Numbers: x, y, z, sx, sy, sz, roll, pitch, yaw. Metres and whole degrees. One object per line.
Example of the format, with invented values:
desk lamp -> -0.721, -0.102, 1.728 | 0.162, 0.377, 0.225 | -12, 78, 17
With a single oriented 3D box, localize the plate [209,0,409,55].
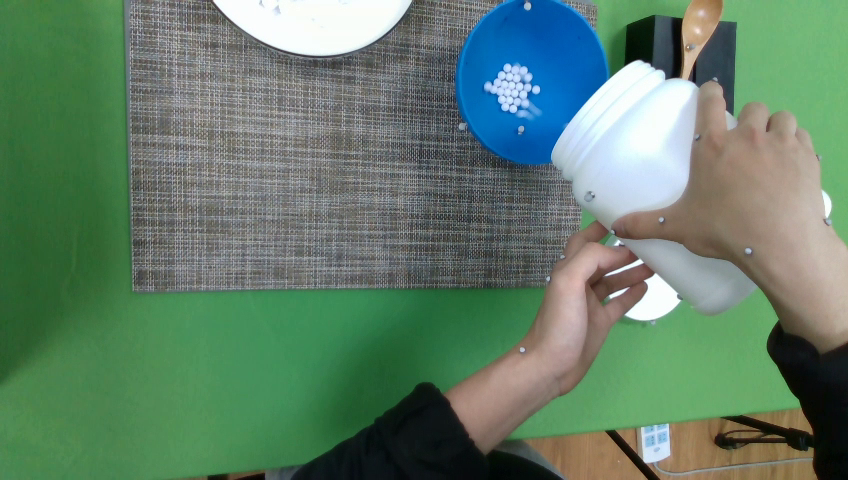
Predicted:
plate -> -0.105, -0.266, 0.534 | 0.210, 0.038, 0.209 | -1, 95, -17

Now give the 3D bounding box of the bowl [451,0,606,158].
bowl -> 0.089, -0.154, 0.585 | 0.152, 0.076, 0.151 | -2, 98, -16

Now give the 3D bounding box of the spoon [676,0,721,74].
spoon -> 0.257, -0.162, 0.620 | 0.042, 0.021, 0.194 | 12, 99, -20

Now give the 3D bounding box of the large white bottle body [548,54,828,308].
large white bottle body -> 0.204, -0.051, 0.493 | 0.130, 0.131, 0.183 | -42, 76, -7

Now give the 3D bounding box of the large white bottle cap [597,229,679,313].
large white bottle cap -> 0.252, 0.027, 0.694 | 0.115, 0.018, 0.115 | -3, 99, -17
